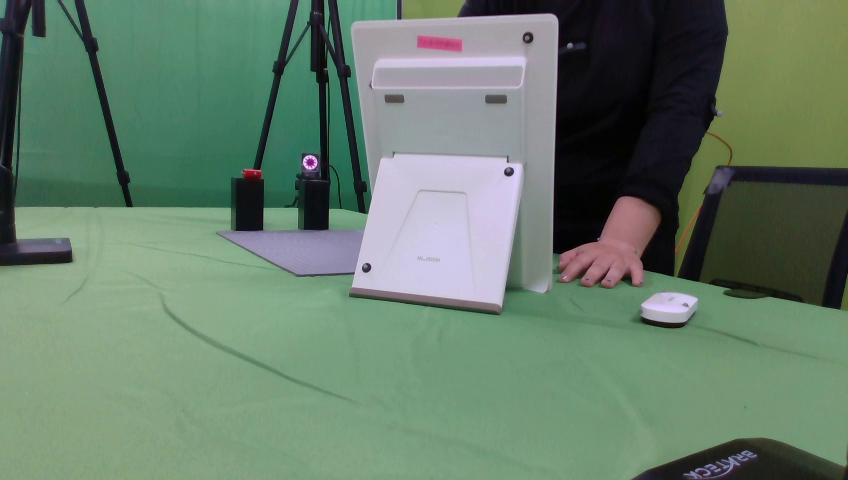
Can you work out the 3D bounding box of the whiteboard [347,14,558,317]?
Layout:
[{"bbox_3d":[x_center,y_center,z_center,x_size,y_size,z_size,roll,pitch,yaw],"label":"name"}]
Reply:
[{"bbox_3d":[0.012,-0.055,0.608,0.216,0.305,0.144,6,28,20],"label":"whiteboard"}]

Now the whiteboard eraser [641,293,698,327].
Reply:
[{"bbox_3d":[0.240,0.066,0.590,0.041,0.019,0.102,5,7,32],"label":"whiteboard eraser"}]

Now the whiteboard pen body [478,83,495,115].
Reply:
[{"bbox_3d":[0.071,-0.161,0.692,0.017,0.017,0.140,4,25,7],"label":"whiteboard pen body"}]

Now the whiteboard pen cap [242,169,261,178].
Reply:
[{"bbox_3d":[-0.326,-0.125,1.144,0.032,0.017,0.017,0,7,-37],"label":"whiteboard pen cap"}]
